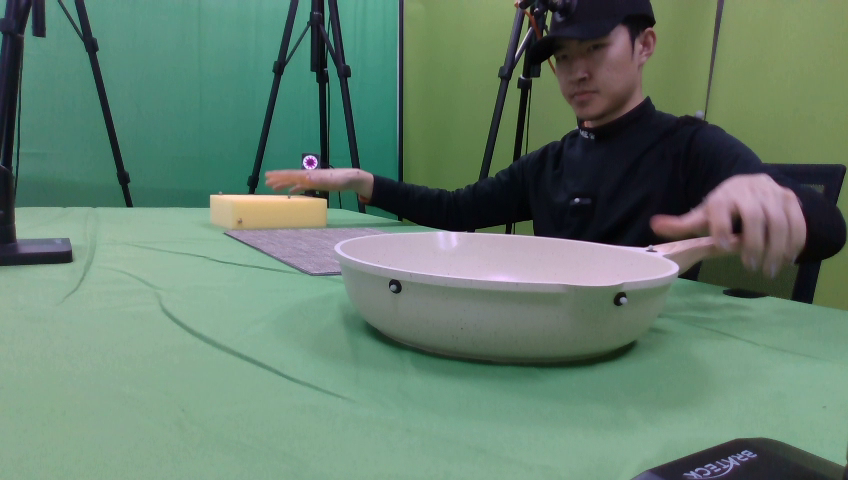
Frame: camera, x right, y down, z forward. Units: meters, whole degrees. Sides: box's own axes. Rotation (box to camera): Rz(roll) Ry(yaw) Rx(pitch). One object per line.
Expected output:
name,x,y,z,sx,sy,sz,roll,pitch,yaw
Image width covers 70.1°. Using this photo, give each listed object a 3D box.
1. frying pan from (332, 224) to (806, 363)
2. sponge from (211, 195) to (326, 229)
frying pan,0.165,0.024,0.562,0.490,0.102,0.305,-9,11,-16
sponge,-0.320,-0.060,1.254,0.208,0.061,0.117,-3,8,-39
